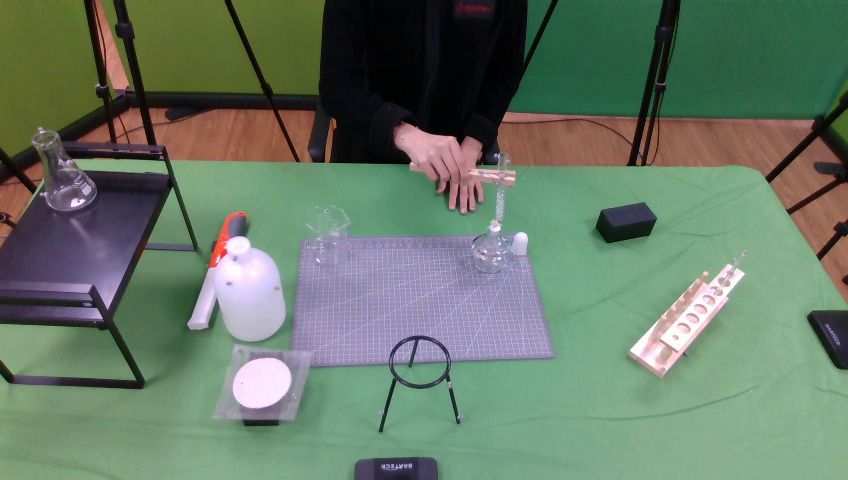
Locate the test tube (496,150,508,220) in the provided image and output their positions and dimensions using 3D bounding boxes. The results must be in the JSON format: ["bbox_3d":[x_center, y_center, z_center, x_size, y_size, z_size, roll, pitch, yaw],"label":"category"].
[{"bbox_3d":[0.130,-0.088,1.018,0.017,0.151,0.017,-2,47,2],"label":"test tube"}]

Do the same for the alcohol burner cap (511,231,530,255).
[{"bbox_3d":[0.191,0.003,1.187,0.034,0.048,0.033,3,44,-3],"label":"alcohol burner cap"}]

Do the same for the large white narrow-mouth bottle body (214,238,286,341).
[{"bbox_3d":[-0.285,0.073,0.986,0.102,0.195,0.101,2,46,-2],"label":"large white narrow-mouth bottle body"}]

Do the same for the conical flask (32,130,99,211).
[{"bbox_3d":[-0.565,-0.111,0.944,0.075,0.122,0.075,2,46,-2],"label":"conical flask"}]

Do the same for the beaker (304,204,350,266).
[{"bbox_3d":[-0.178,-0.006,1.132,0.084,0.101,0.073,4,46,-1],"label":"beaker"}]

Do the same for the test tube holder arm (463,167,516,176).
[{"bbox_3d":[0.108,-0.112,1.005,0.088,0.015,0.010,3,50,4],"label":"test tube holder arm"}]

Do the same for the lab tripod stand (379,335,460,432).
[{"bbox_3d":[-0.011,0.214,0.911,0.148,0.132,0.147,1,45,0],"label":"lab tripod stand"}]

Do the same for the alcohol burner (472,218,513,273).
[{"bbox_3d":[0.128,0.005,1.132,0.078,0.120,0.077,0,47,0],"label":"alcohol burner"}]

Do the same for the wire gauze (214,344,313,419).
[{"bbox_3d":[-0.241,0.213,0.915,0.121,0.011,0.124,5,46,1],"label":"wire gauze"}]

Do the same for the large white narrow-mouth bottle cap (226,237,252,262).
[{"bbox_3d":[-0.282,0.014,0.923,0.038,0.024,0.037,2,46,-2],"label":"large white narrow-mouth bottle cap"}]

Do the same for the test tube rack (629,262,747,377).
[{"bbox_3d":[0.464,0.126,1.060,0.242,0.085,0.066,-34,56,-31],"label":"test tube rack"}]

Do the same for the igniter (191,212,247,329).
[{"bbox_3d":[-0.376,0.047,1.121,0.057,0.025,0.275,-4,46,6],"label":"igniter"}]

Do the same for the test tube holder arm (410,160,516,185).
[{"bbox_3d":[0.063,-0.113,1.008,0.178,0.015,0.013,9,50,10],"label":"test tube holder arm"}]

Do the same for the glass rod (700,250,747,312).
[{"bbox_3d":[0.500,0.075,1.021,0.008,0.201,0.008,0,54,1],"label":"glass rod"}]
